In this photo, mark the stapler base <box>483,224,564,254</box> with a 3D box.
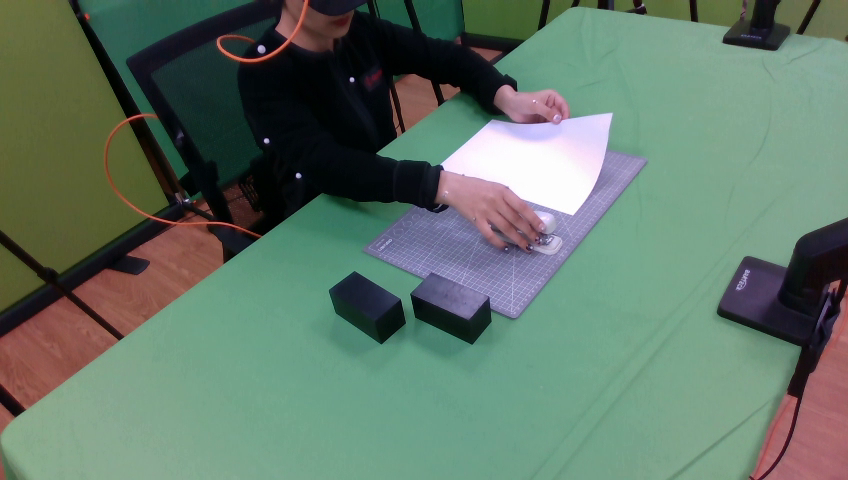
[{"bbox_3d":[0.158,-0.012,0.962,0.129,0.024,0.041,18,45,31],"label":"stapler base"}]

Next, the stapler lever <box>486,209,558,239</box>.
[{"bbox_3d":[0.153,-0.032,0.947,0.117,0.040,0.027,17,45,31],"label":"stapler lever"}]
